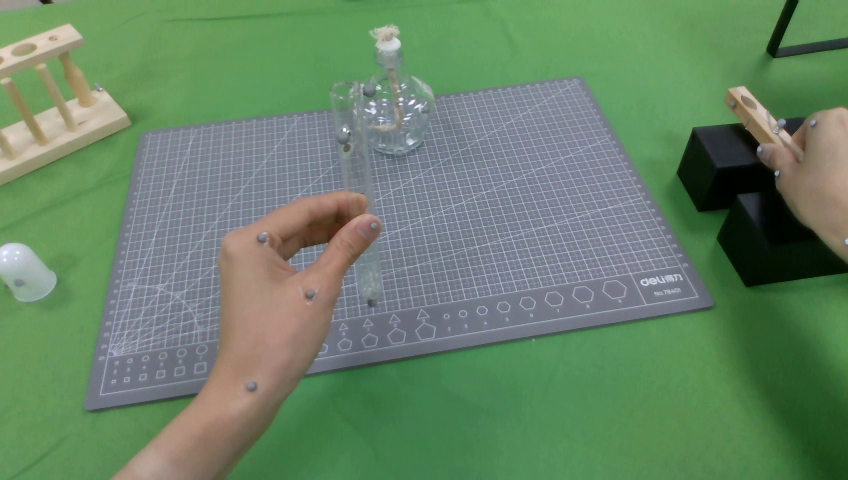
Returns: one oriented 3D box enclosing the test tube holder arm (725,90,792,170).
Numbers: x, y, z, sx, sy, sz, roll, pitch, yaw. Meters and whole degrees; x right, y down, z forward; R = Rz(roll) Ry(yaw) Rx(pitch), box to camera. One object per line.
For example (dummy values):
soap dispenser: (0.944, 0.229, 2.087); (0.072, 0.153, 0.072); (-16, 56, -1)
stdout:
test tube holder arm: (0.273, -0.090, 0.491); (0.010, 0.015, 0.087); (-27, 51, 8)

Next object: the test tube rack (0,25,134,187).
test tube rack: (-0.405, -0.099, 0.545); (0.242, 0.086, 0.066); (-34, 56, -24)

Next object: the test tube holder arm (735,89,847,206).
test tube holder arm: (0.292, -0.061, 0.462); (0.013, 0.015, 0.176); (-30, 51, 5)

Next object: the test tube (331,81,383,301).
test tube: (-0.036, -0.018, 0.341); (0.017, 0.151, 0.017); (-1, 43, 1)

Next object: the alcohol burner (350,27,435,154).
alcohol burner: (-0.028, -0.136, 0.539); (0.078, 0.120, 0.077); (0, 50, 0)

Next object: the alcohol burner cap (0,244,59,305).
alcohol burner cap: (-0.308, 0.024, 0.465); (0.034, 0.048, 0.033); (-1, 49, 1)
